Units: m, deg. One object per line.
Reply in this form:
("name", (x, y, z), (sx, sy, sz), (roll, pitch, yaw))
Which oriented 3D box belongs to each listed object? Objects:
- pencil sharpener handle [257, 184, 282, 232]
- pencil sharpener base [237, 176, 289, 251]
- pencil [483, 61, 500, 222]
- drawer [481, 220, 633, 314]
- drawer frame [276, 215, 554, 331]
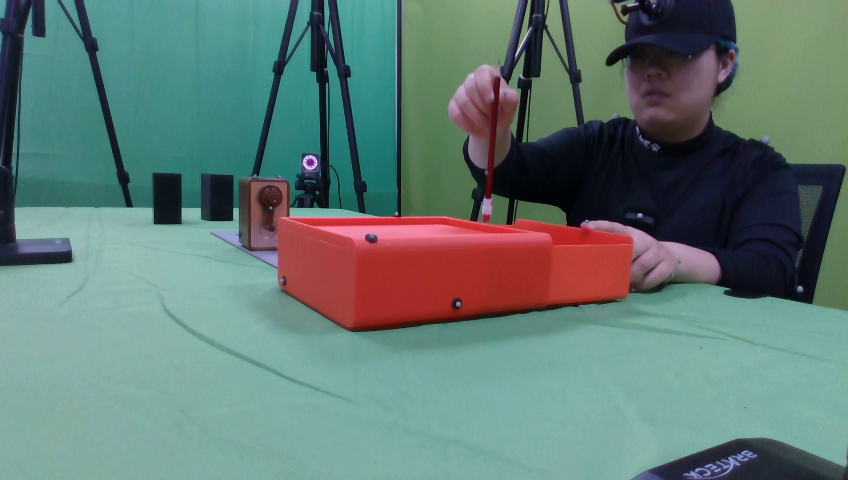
("pencil sharpener handle", (-0.219, -0.046, 0.865), (0.036, 0.067, 0.030), (5, 5, -29))
("pencil sharpener base", (-0.243, -0.040, 0.912), (0.061, 0.107, 0.076), (-1, 8, -28))
("pencil", (0.082, -0.115, 0.729), (0.012, 0.194, 0.012), (2, 18, 0))
("drawer", (0.086, 0.023, 0.674), (0.213, 0.073, 0.193), (-3, 9, -32))
("drawer frame", (-0.015, 0.022, 0.610), (0.215, 0.082, 0.200), (-2, 9, -32))
